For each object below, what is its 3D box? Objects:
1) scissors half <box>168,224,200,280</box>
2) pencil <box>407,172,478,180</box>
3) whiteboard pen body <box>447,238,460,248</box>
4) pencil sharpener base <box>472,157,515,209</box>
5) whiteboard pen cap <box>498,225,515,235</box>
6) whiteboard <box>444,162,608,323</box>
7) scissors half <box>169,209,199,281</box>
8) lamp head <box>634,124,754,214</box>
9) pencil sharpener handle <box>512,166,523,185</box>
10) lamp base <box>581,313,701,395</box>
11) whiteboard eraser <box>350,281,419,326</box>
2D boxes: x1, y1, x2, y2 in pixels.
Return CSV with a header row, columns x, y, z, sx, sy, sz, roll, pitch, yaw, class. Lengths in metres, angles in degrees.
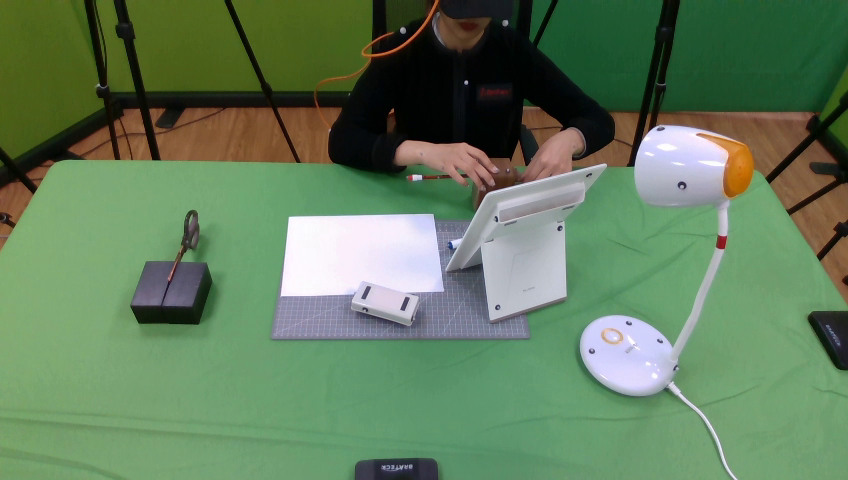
x,y,z,sx,sy,sz,roll,pitch,yaw,class
-0.440,0.023,1.111,0.013,0.040,0.174,7,29,-6,scissors half
0.062,-0.133,1.233,0.194,0.012,0.012,-3,47,-5,pencil
0.112,-0.005,1.203,0.141,0.017,0.017,-14,49,-18,whiteboard pen body
0.145,-0.115,1.259,0.077,0.107,0.061,-2,46,-6,pencil sharpener base
0.166,-0.019,1.222,0.033,0.018,0.018,-14,49,-19,whiteboard pen cap
0.186,0.025,1.029,0.217,0.306,0.143,-14,68,-18,whiteboard
-0.438,0.007,1.098,0.013,0.040,0.174,3,48,-3,scissors half
0.351,-0.089,0.776,0.112,0.113,0.122,-30,30,-28,lamp head
0.196,-0.130,1.259,0.031,0.068,0.036,-2,65,-6,pencil sharpener handle
0.361,0.144,0.972,0.178,0.181,0.160,34,53,23,lamp base
-0.069,0.113,1.065,0.112,0.042,0.055,14,46,9,whiteboard eraser
